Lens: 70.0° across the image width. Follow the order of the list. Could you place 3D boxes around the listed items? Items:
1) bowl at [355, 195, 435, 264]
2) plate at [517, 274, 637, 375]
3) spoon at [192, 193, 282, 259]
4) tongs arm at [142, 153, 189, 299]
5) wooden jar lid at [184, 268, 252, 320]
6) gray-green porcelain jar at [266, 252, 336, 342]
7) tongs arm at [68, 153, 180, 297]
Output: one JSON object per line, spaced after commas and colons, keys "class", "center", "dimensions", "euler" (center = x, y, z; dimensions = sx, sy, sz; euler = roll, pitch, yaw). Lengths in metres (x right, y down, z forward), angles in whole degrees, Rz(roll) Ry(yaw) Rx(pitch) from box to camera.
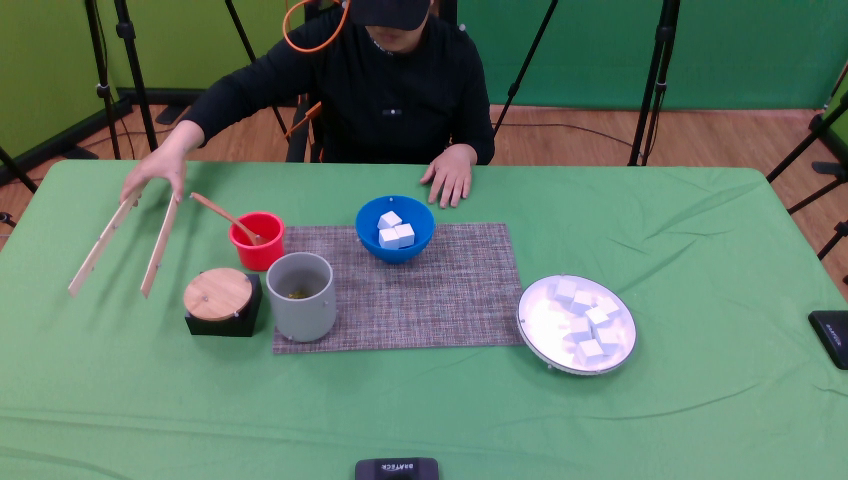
{"class": "bowl", "center": [-0.056, -0.008, 1.158], "dimensions": [0.151, 0.077, 0.150], "euler": [2, 46, -2]}
{"class": "plate", "center": [0.264, 0.149, 1.060], "dimensions": [0.209, 0.038, 0.208], "euler": [3, 46, -3]}
{"class": "spoon", "center": [-0.342, -0.027, 1.115], "dimensions": [0.194, 0.021, 0.041], "euler": [43, 40, -24]}
{"class": "tongs arm", "center": [-0.484, -0.042, 1.140], "dimensions": [0.028, 0.028, 0.385], "euler": [-7, 44, -1]}
{"class": "wooden jar lid", "center": [-0.343, 0.092, 1.015], "dimensions": [0.108, 0.021, 0.107], "euler": [3, 46, -3]}
{"class": "gray-green porcelain jar", "center": [-0.202, 0.100, 1.009], "dimensions": [0.106, 0.127, 0.105], "euler": [2, 46, -2]}
{"class": "tongs arm", "center": [-0.552, -0.043, 1.139], "dimensions": [0.051, 0.026, 0.382], "euler": [2, 44, 3]}
